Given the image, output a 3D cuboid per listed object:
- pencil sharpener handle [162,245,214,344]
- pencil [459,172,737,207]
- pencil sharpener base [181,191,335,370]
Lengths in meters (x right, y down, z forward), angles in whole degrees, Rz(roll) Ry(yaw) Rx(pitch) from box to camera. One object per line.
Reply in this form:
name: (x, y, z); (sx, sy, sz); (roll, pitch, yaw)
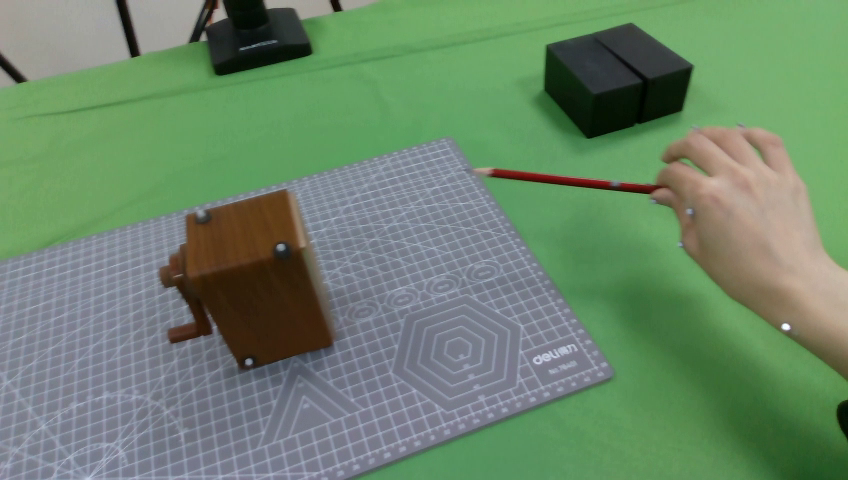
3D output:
pencil sharpener handle: (-0.159, 0.038, 0.393); (0.031, 0.068, 0.035); (-15, 30, -8)
pencil: (0.122, -0.038, 0.435); (0.194, 0.012, 0.012); (6, 46, 8)
pencil sharpener base: (-0.110, 0.031, 0.413); (0.077, 0.108, 0.060); (-15, 46, -8)
